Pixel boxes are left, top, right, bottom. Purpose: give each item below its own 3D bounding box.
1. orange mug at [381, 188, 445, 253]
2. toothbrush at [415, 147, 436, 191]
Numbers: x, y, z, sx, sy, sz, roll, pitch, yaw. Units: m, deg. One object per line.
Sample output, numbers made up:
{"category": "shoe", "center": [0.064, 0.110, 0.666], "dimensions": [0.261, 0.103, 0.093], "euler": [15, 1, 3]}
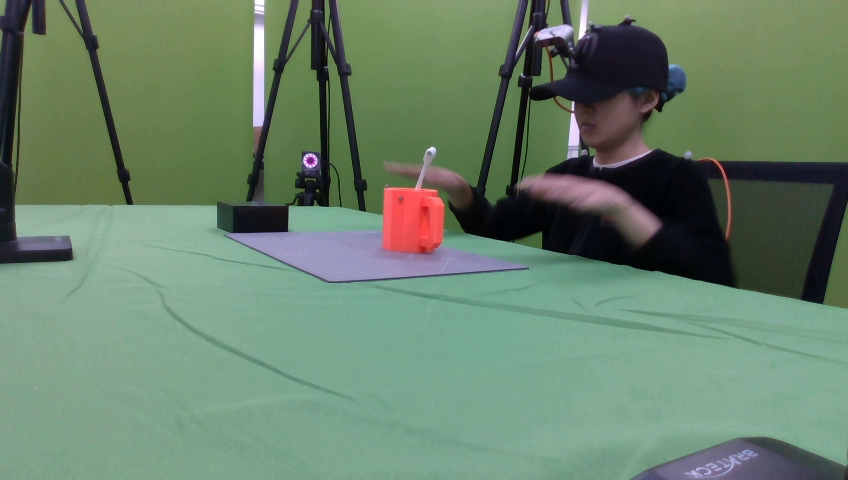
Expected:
{"category": "orange mug", "center": [-0.012, -0.031, 0.942], "dimensions": [0.084, 0.100, 0.125], "euler": [-2, 4, -37]}
{"category": "toothbrush", "center": [-0.012, -0.068, 0.933], "dimensions": [0.014, 0.181, 0.016], "euler": [24, 41, 3]}
